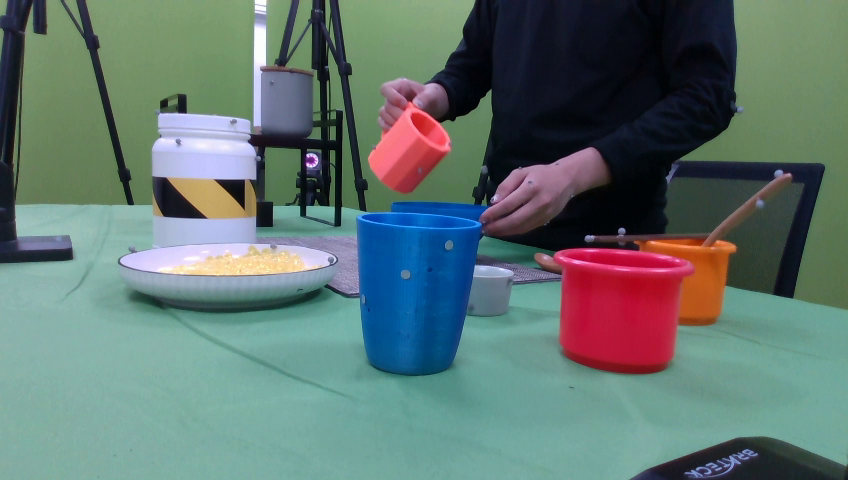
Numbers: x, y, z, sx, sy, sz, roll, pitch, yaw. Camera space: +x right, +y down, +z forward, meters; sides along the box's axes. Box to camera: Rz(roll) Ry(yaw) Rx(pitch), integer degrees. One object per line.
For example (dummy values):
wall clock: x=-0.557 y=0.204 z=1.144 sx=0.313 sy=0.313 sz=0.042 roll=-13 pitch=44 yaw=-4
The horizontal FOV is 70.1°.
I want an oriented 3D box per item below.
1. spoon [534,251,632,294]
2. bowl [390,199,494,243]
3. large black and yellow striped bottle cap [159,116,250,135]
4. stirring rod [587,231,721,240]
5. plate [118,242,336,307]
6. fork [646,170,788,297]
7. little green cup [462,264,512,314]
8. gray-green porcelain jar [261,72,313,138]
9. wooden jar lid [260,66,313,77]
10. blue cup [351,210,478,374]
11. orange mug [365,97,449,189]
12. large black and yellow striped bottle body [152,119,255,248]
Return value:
spoon: x=0.193 y=0.038 z=0.753 sx=0.042 sy=0.021 sz=0.193 roll=16 pitch=2 yaw=-21
bowl: x=0.023 y=-0.015 z=0.872 sx=0.151 sy=0.077 sz=0.151 roll=3 pitch=7 yaw=0
large black and yellow striped bottle cap: x=-0.292 y=-0.153 z=0.810 sx=0.115 sy=0.019 sz=0.115 roll=3 pitch=8 yaw=0
stirring rod: x=0.227 y=-0.005 z=0.586 sx=0.177 sy=0.006 sz=0.014 roll=-2 pitch=6 yaw=-29
plate: x=-0.194 y=0.033 z=0.615 sx=0.209 sy=0.038 sz=0.209 roll=2 pitch=7 yaw=0
fork: x=0.256 y=0.004 z=0.543 sx=0.028 sy=0.018 sz=0.207 roll=3 pitch=-36 yaw=-9
little green cup: x=0.053 y=0.047 z=0.580 sx=0.061 sy=0.038 sz=0.061 roll=3 pitch=8 yaw=0
gray-green porcelain jar: x=-0.284 y=-0.276 z=1.253 sx=0.106 sy=0.126 sz=0.106 roll=2 pitch=8 yaw=0
wooden jar lid: x=-0.282 y=-0.339 z=1.245 sx=0.108 sy=0.020 sz=0.108 roll=6 pitch=8 yaw=-1
blue cup: x=-0.009 y=0.034 z=0.414 sx=0.093 sy=0.100 sz=0.092 roll=4 pitch=8 yaw=0
orange mug: x=-0.029 y=-0.153 z=0.905 sx=0.084 sy=0.100 sz=0.125 roll=16 pitch=42 yaw=-38
large black and yellow striped bottle body: x=-0.296 y=-0.070 z=0.819 sx=0.131 sy=0.184 sz=0.130 roll=2 pitch=7 yaw=0
